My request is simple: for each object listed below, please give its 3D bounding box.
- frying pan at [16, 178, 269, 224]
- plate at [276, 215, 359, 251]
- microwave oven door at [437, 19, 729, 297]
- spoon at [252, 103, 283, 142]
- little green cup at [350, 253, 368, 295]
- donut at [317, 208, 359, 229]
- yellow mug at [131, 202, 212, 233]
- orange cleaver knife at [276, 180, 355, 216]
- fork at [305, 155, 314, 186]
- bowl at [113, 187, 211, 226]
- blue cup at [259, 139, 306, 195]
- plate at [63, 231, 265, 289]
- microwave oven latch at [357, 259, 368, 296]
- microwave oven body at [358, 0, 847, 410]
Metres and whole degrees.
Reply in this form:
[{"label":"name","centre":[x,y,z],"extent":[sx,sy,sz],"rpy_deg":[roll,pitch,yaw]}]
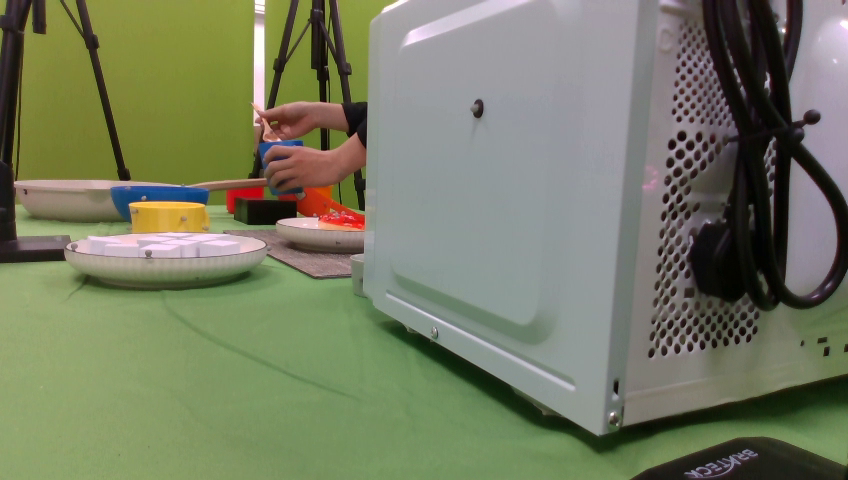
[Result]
[{"label":"frying pan","centre":[-0.554,-0.096,1.266],"extent":[0.490,0.102,0.305],"rpy_deg":[-10,13,-24]},{"label":"plate","centre":[-0.126,-0.012,0.950],"extent":[0.209,0.038,0.209],"rpy_deg":[2,7,0]},{"label":"microwave oven door","centre":[0.180,-0.076,0.618],"extent":[0.358,0.243,0.039],"rpy_deg":[-2,9,-28]},{"label":"spoon","centre":[-0.358,-0.264,1.368],"extent":[0.042,0.021,0.193],"rpy_deg":[-4,43,-30]},{"label":"little green cup","centre":[-0.048,0.035,0.632],"extent":[0.061,0.038,0.061],"rpy_deg":[3,6,0]},{"label":"donut","centre":[-0.118,-0.024,0.954],"extent":[0.099,0.048,0.099],"rpy_deg":[6,7,0]},{"label":"yellow mug","centre":[-0.356,-0.020,0.878],"extent":[0.099,0.064,0.131],"rpy_deg":[5,7,21]},{"label":"orange cleaver knife","centre":[-0.236,-0.084,1.331],"extent":[0.212,0.077,0.012],"rpy_deg":[31,-9,-31]},{"label":"fork","centre":[-0.268,-0.134,1.446],"extent":[0.028,0.018,0.207],"rpy_deg":[2,-36,-1]},{"label":"bowl","centre":[-0.436,-0.046,1.013],"extent":[0.151,0.077,0.151],"rpy_deg":[2,7,0]},{"label":"blue cup","centre":[-0.268,-0.139,1.166],"extent":[0.093,0.100,0.092],"rpy_deg":[-6,7,1]},{"label":"plate","centre":[-0.288,0.021,0.687],"extent":[0.208,0.039,0.207],"rpy_deg":[2,8,0]},{"label":"microwave oven latch","centre":[-0.019,0.031,0.528],"extent":[0.079,0.029,0.030],"rpy_deg":[-1,7,-25]},{"label":"microwave oven body","centre":[0.210,-0.051,0.471],"extent":[0.444,0.260,0.324],"rpy_deg":[-1,7,-28]}]
